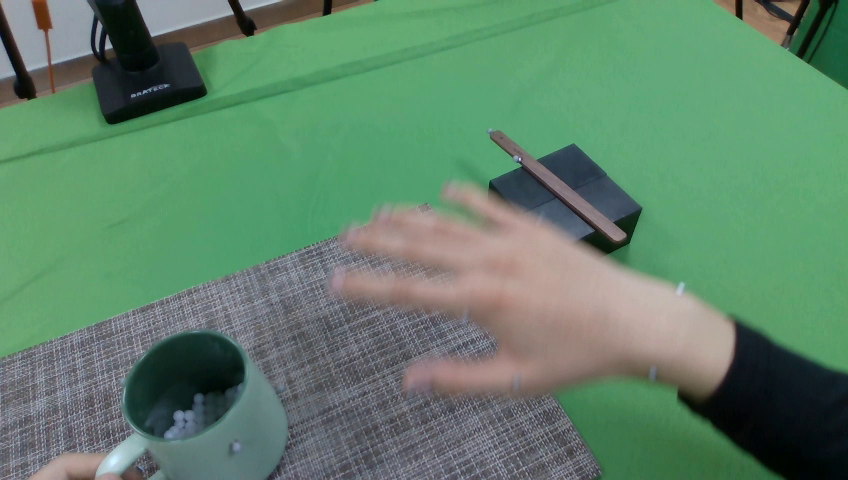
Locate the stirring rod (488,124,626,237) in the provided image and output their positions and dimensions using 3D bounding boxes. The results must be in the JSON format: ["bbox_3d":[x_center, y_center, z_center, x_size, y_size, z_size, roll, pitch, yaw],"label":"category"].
[{"bbox_3d":[0.118,-0.060,0.560,0.014,0.006,0.174,-30,56,-20],"label":"stirring rod"}]

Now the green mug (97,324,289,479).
[{"bbox_3d":[-0.159,0.129,0.416,0.092,0.106,0.125,34,60,25],"label":"green mug"}]
